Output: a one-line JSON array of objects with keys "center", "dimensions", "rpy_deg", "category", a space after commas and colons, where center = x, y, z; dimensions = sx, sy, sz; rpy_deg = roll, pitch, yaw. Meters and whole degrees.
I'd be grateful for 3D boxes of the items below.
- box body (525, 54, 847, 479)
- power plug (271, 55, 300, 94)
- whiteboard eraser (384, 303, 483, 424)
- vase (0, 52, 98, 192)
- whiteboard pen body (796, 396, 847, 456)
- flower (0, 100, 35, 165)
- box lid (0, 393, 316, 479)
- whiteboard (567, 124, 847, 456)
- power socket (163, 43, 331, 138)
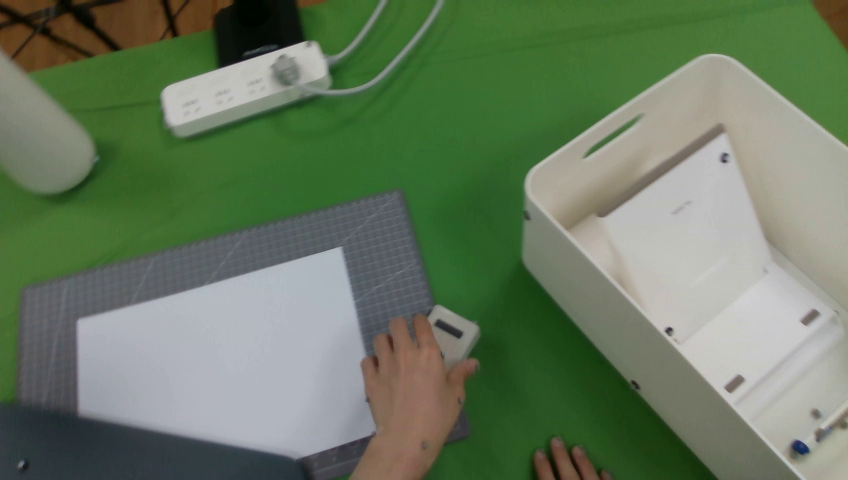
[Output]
[{"center": [0.294, 0.038, 0.567], "dimensions": [0.254, 0.161, 0.361], "rpy_deg": [-34, 66, -13], "category": "box body"}, {"center": [-0.173, -0.199, 0.764], "dimensions": [0.035, 0.053, 0.072], "rpy_deg": [-10, 69, -2], "category": "power plug"}, {"center": [0.010, 0.123, 0.608], "dimensions": [0.055, 0.042, 0.112], "rpy_deg": [26, 68, 18], "category": "whiteboard eraser"}, {"center": [-0.462, -0.138, 0.683], "dimensions": [0.098, 0.201, 0.097], "rpy_deg": [-2, 63, 4], "category": "vase"}, {"center": [0.407, 0.158, 0.577], "dimensions": [0.141, 0.017, 0.017], "rpy_deg": [-34, 66, -13], "category": "whiteboard pen body"}, {"center": [-0.446, -0.173, 0.608], "dimensions": [0.038, 0.363, 0.044], "rpy_deg": [33, 60, 0], "category": "flower"}, {"center": [-0.305, 0.298, 0.561], "dimensions": [0.371, 0.015, 0.261], "rpy_deg": [8, 65, 7], "category": "box lid"}, {"center": [0.290, 0.033, 0.583], "dimensions": [0.217, 0.145, 0.303], "rpy_deg": [-34, 65, -16], "category": "whiteboard"}, {"center": [-0.230, -0.197, 0.791], "dimensions": [0.227, 0.033, 0.071], "rpy_deg": [-20, 65, -7], "category": "power socket"}]
